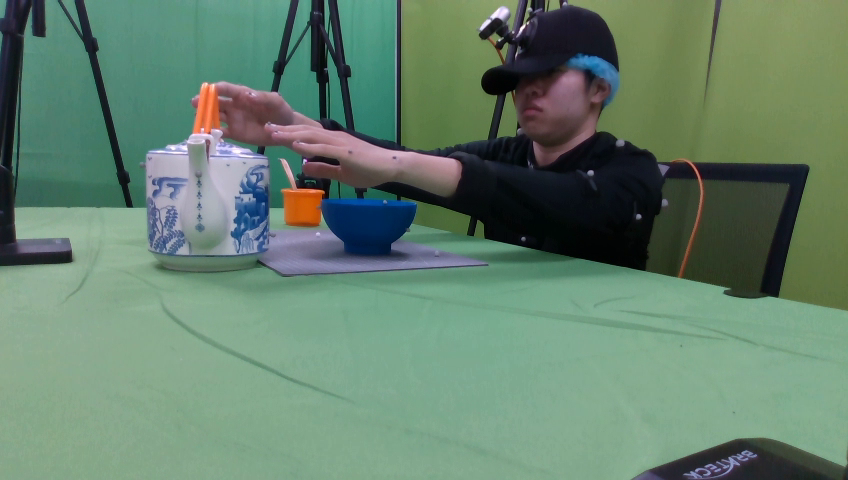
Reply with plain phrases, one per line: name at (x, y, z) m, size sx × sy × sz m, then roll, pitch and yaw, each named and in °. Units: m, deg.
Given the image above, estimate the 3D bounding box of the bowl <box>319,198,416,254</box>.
bowl at (-0.088, -0.022, 0.941) m, size 0.151 × 0.077 × 0.151 m, roll 2°, pitch 7°, yaw 0°

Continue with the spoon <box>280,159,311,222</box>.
spoon at (-0.285, -0.111, 1.320) m, size 0.042 × 0.193 × 0.021 m, roll -3°, pitch -35°, yaw -31°

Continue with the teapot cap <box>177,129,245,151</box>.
teapot cap at (-0.268, -0.117, 0.760) m, size 0.085 × 0.044 × 0.085 m, roll 5°, pitch 9°, yaw 0°

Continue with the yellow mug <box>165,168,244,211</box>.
yellow mug at (-0.370, -0.086, 1.027) m, size 0.131 × 0.064 × 0.100 m, roll 5°, pitch 7°, yaw 4°

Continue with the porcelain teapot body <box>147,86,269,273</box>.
porcelain teapot body at (-0.263, -0.074, 0.738) m, size 0.146 × 0.225 × 0.204 m, roll 1°, pitch 8°, yaw -16°
